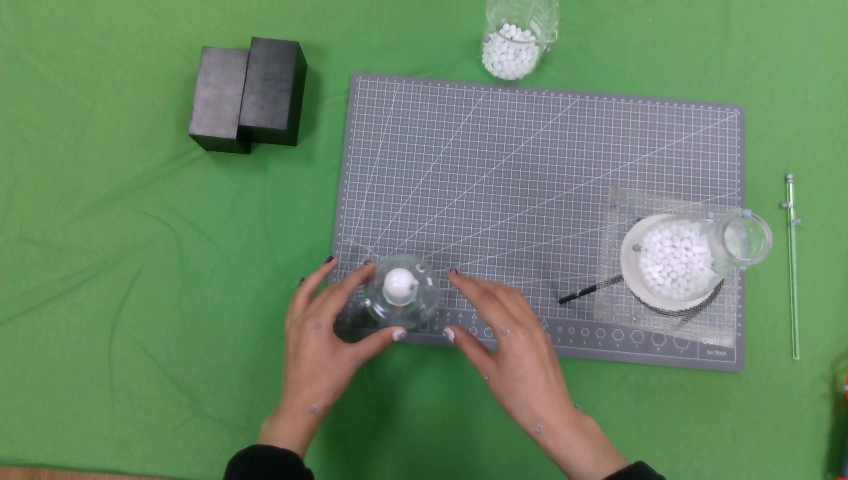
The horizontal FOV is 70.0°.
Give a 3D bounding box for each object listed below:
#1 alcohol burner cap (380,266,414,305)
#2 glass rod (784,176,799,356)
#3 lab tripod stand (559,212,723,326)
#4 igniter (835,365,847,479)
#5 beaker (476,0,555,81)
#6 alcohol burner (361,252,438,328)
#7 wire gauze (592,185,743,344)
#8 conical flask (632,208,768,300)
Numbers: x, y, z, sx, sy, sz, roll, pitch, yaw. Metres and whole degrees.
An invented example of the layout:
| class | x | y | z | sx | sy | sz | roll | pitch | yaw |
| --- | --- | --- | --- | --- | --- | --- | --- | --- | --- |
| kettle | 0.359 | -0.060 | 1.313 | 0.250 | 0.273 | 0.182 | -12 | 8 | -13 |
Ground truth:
| class | x | y | z | sx | sy | sz | roll | pitch | yaw |
| --- | --- | --- | --- | --- | --- | --- | --- | --- | --- |
| alcohol burner cap | -0.025 | 0.040 | 0.563 | 0.034 | 0.048 | 0.033 | 1 | 75 | -3 |
| glass rod | 0.401 | 0.026 | 0.662 | 0.008 | 0.008 | 0.199 | 3 | 80 | 0 |
| lab tripod stand | 0.214 | 0.033 | 0.593 | 0.148 | 0.132 | 0.148 | 0 | 82 | 0 |
| igniter | 0.473 | 0.123 | 0.638 | 0.057 | 0.025 | 0.275 | 18 | 80 | -8 |
| beaker | 0.097 | -0.222 | 0.655 | 0.084 | 0.100 | 0.074 | 41 | 82 | 5 |
| alcohol burner | -0.025 | 0.048 | 0.598 | 0.078 | 0.119 | 0.077 | 0 | 81 | 1 |
| wire gauze | 0.213 | 0.020 | 0.529 | 0.125 | 0.011 | 0.121 | 11 | 83 | -1 |
| conical flask | 0.217 | 0.006 | 0.471 | 0.075 | 0.122 | 0.075 | 0 | 82 | 0 |
